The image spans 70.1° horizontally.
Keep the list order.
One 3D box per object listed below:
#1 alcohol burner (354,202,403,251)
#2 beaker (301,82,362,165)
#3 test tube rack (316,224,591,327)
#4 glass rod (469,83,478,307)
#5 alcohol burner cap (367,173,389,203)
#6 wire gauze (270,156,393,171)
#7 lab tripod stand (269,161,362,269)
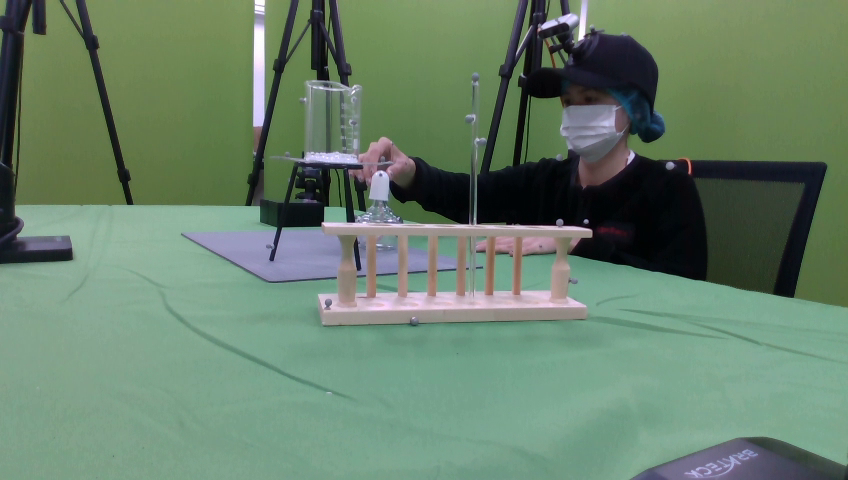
[{"bbox_3d":[-0.072,-0.042,0.944,0.078,0.119,0.078,1,9,0],"label":"alcohol burner"},{"bbox_3d":[-0.117,-0.147,0.776,0.074,0.100,0.083,-3,10,-38],"label":"beaker"},{"bbox_3d":[0.026,0.028,0.555,0.243,0.085,0.066,1,7,-14],"label":"test tube rack"},{"bbox_3d":[0.042,-0.033,0.523,0.008,0.199,0.008,-1,14,0],"label":"glass rod"},{"bbox_3d":[-0.069,-0.081,0.940,0.034,0.048,0.034,8,6,0],"label":"alcohol burner cap"},{"bbox_3d":[-0.122,-0.100,0.786,0.122,0.011,0.124,-5,14,-38],"label":"wire gauze"},{"bbox_3d":[-0.125,-0.036,0.794,0.148,0.131,0.148,5,7,0],"label":"lab tripod stand"}]
